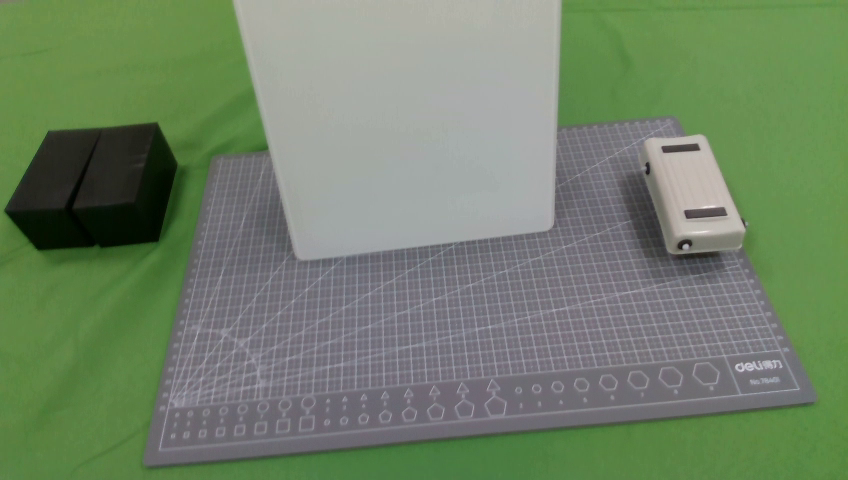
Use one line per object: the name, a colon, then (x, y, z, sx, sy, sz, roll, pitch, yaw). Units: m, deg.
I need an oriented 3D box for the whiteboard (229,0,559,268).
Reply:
whiteboard: (-0.018, -0.155, 0.478, 0.217, 0.308, 0.142, -6, 31, -1)

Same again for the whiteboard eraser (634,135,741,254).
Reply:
whiteboard eraser: (0.213, -0.037, 0.497, 0.055, 0.042, 0.111, -2, 50, 2)
